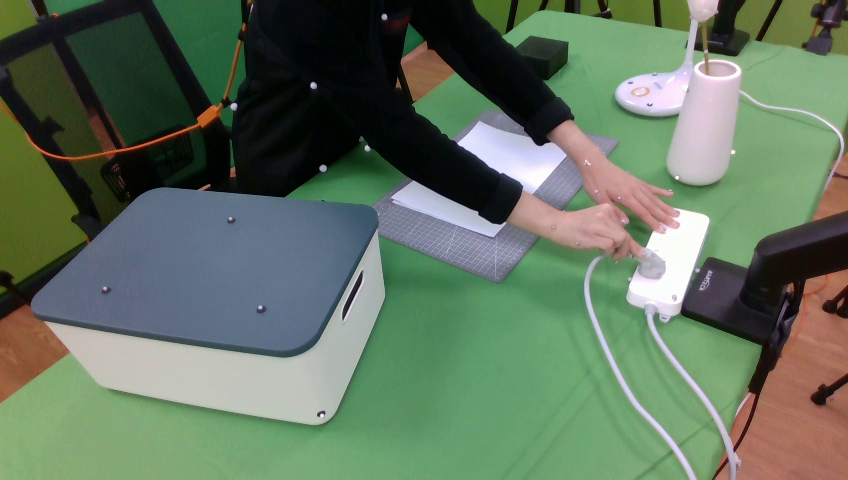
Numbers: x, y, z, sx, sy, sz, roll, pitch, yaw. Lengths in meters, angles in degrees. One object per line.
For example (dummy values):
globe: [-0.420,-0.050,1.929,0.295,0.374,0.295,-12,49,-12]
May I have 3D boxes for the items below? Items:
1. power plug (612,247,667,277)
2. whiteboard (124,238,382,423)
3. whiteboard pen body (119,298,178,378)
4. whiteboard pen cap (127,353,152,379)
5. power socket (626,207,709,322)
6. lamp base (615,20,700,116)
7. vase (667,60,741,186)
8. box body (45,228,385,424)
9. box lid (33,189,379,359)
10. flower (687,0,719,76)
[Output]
power plug: [0.306,0.031,0.853,0.072,0.053,0.035,22,49,39]
whiteboard: [-0.242,0.094,0.809,0.304,0.144,0.216,4,45,13]
whiteboard pen body: [-0.396,0.139,0.869,0.017,0.017,0.140,6,46,15]
whiteboard pen cap: [-0.385,0.170,0.820,0.018,0.018,0.033,7,42,16]
power socket: [0.360,0.026,0.886,0.072,0.033,0.227,17,46,27]
lamp base: [0.484,-0.364,1.211,0.180,0.181,0.159,-15,41,-14]
vase: [0.463,-0.189,0.994,0.098,0.201,0.097,-4,40,4]
box body: [-0.254,0.081,0.807,0.363,0.161,0.253,5,42,14]
box lid: [-0.260,0.025,0.758,0.370,0.015,0.263,5,41,14]
flower: [0.436,-0.242,0.935,0.038,0.364,0.043,-24,49,8]
